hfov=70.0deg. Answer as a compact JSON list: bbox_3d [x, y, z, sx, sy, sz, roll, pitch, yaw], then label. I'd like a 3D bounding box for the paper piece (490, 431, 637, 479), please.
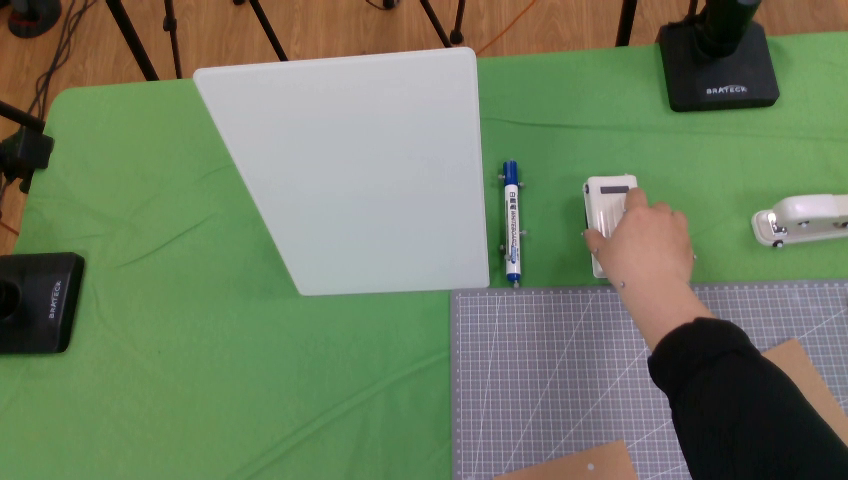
[{"bbox_3d":[0.147,0.267,0.576,0.135,0.004,0.134,-16,70,0],"label":"paper piece"}]

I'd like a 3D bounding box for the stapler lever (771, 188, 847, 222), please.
[{"bbox_3d":[0.419,-0.038,0.621,0.118,0.040,0.026,-8,72,4],"label":"stapler lever"}]

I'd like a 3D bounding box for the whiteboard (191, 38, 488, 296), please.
[{"bbox_3d":[-0.050,-0.092,0.603,0.217,0.308,0.142,-2,51,7],"label":"whiteboard"}]

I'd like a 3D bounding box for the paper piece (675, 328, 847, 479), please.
[{"bbox_3d":[0.338,0.175,0.586,0.136,0.009,0.137,-25,71,2],"label":"paper piece"}]

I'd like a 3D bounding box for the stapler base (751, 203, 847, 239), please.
[{"bbox_3d":[0.420,-0.029,0.643,0.130,0.024,0.041,-7,72,2],"label":"stapler base"}]

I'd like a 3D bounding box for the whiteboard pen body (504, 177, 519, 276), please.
[{"bbox_3d":[0.098,-0.028,0.684,0.017,0.017,0.140,-1,69,7],"label":"whiteboard pen body"}]

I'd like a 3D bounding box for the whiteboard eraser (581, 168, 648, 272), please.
[{"bbox_3d":[0.204,-0.021,0.655,0.055,0.042,0.112,-4,72,4],"label":"whiteboard eraser"}]

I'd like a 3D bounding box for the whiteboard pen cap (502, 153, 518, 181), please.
[{"bbox_3d":[0.101,-0.083,0.702,0.018,0.018,0.033,-4,68,6],"label":"whiteboard pen cap"}]
